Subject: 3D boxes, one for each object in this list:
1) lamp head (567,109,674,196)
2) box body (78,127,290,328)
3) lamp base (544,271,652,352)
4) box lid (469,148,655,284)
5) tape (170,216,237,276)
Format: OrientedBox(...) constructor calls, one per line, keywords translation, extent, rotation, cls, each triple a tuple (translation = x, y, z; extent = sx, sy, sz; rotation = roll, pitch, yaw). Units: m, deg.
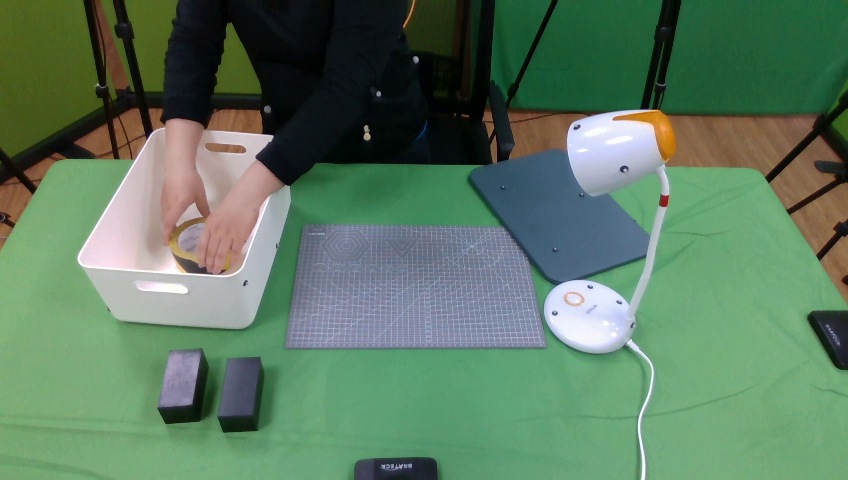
OrientedBox(translation=(0.272, -0.123, 0.818), extent=(0.122, 0.113, 0.112), rotation=(-9, 35, 37), cls="lamp head")
OrientedBox(translation=(-0.400, -0.026, 1.095), extent=(0.254, 0.161, 0.362), rotation=(4, 46, 0), cls="box body")
OrientedBox(translation=(0.309, 0.086, 1.029), extent=(0.178, 0.181, 0.160), rotation=(32, 52, 21), cls="lamp base")
OrientedBox(translation=(0.285, -0.064, 1.289), extent=(0.263, 0.015, 0.369), rotation=(-17, 49, -19), cls="box lid")
OrientedBox(translation=(-0.408, 0.013, 1.124), extent=(0.117, 0.053, 0.116), rotation=(1, 46, -1), cls="tape")
